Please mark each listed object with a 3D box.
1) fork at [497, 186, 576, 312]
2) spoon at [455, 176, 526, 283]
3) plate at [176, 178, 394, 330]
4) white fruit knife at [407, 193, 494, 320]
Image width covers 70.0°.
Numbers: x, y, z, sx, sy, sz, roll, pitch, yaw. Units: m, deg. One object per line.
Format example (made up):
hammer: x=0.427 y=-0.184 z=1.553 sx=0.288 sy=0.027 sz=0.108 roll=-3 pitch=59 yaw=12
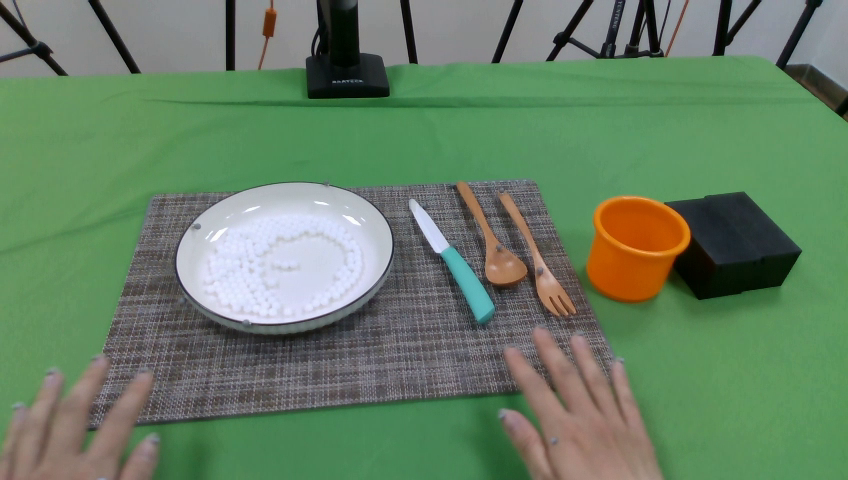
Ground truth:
fork: x=0.113 y=0.003 z=0.646 sx=0.028 sy=0.019 sz=0.205 roll=-12 pitch=46 yaw=-5
spoon: x=0.066 y=-0.018 z=0.663 sx=0.041 sy=0.022 sz=0.191 roll=-19 pitch=45 yaw=0
plate: x=-0.133 y=0.012 z=0.603 sx=0.209 sy=0.038 sz=0.207 roll=2 pitch=42 yaw=-1
white fruit knife: x=0.023 y=0.008 z=0.635 sx=0.027 sy=0.016 sz=0.205 roll=-3 pitch=40 yaw=-26
